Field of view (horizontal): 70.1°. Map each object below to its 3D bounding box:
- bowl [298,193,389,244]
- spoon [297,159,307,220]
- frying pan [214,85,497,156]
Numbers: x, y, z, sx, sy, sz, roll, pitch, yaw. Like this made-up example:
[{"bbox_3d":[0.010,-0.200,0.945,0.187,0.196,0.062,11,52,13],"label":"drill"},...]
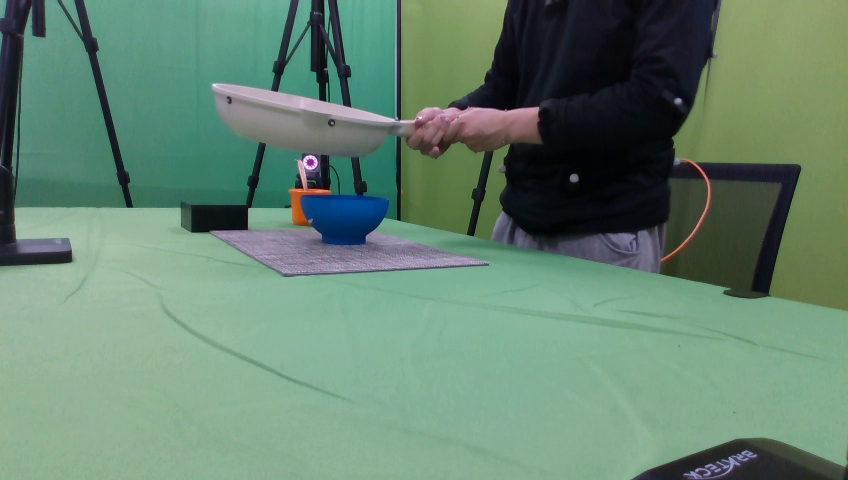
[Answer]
[{"bbox_3d":[-0.136,-0.037,1.018,0.151,0.077,0.151,2,7,0],"label":"bowl"},{"bbox_3d":[-0.264,-0.114,1.338,0.042,0.193,0.021,0,-37,-21],"label":"spoon"},{"bbox_3d":[-0.102,-0.203,1.042,0.490,0.102,0.305,-1,18,-15],"label":"frying pan"}]
